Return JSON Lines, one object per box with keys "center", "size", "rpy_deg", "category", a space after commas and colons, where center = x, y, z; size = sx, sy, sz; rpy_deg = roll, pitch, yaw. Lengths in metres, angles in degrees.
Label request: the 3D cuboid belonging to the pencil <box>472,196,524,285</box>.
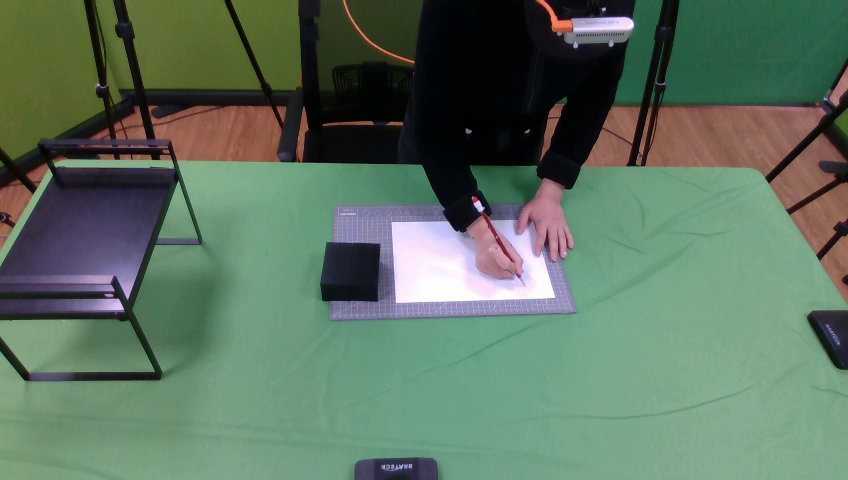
{"center": [0.140, 0.003, 1.124], "size": [0.012, 0.012, 0.194], "rpy_deg": [-36, 100, -32], "category": "pencil"}
